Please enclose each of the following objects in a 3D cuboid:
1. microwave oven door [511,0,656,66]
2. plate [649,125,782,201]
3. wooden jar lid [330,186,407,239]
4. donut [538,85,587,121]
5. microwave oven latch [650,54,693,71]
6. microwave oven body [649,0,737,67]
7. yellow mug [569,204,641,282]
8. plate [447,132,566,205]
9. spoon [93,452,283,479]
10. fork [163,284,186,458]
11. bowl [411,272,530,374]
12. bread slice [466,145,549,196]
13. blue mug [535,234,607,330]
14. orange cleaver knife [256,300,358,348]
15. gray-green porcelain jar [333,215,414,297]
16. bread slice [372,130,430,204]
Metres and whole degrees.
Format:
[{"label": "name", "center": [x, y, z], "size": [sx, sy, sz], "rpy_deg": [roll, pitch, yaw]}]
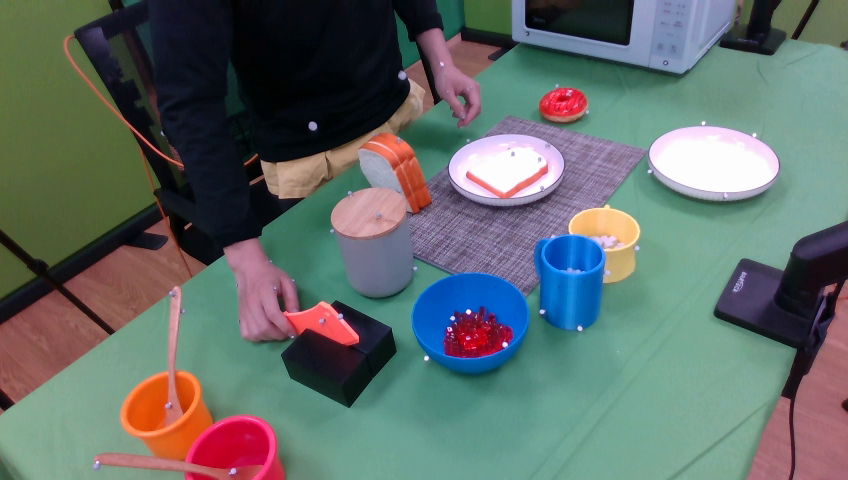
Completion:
[{"label": "microwave oven door", "center": [0.351, -0.539, 1.349], "size": [0.353, 0.245, 0.039], "rpy_deg": [24, 50, 31]}, {"label": "plate", "center": [0.493, -0.127, 1.036], "size": [0.207, 0.039, 0.206], "rpy_deg": [-4, 41, 4]}, {"label": "wooden jar lid", "center": [-0.077, -0.035, 0.846], "size": [0.108, 0.021, 0.108], "rpy_deg": [-5, 41, 5]}, {"label": "donut", "center": [0.283, -0.280, 1.239], "size": [0.099, 0.048, 0.098], "rpy_deg": [-5, 42, 5]}, {"label": "microwave oven latch", "center": [0.531, -0.386, 1.301], "size": [0.078, 0.029, 0.030], "rpy_deg": [26, 51, 33]}, {"label": "microwave oven body", "center": [0.475, -0.602, 1.411], "size": [0.438, 0.261, 0.327], "rpy_deg": [23, 50, 32]}, {"label": "yellow mug", "center": [0.268, -0.005, 0.904], "size": [0.099, 0.064, 0.130], "rpy_deg": [7, 41, 15]}, {"label": "plate", "center": [0.146, -0.124, 1.076], "size": [0.209, 0.038, 0.208], "rpy_deg": [-3, 41, 3]}, {"label": "spoon", "center": [-0.240, 0.239, 0.632], "size": [0.195, 0.021, 0.041], "rpy_deg": [26, 34, -32]}, {"label": "fork", "center": [-0.302, 0.157, 0.733], "size": [0.028, 0.019, 0.207], "rpy_deg": [-3, 84, 15]}, {"label": "bowl", "center": [0.062, 0.120, 0.780], "size": [0.151, 0.077, 0.150], "rpy_deg": [-4, 40, 4]}, {"label": "bread slice", "center": [0.156, -0.128, 1.085], "size": [0.132, 0.019, 0.104], "rpy_deg": [-34, 48, -23]}, {"label": "blue mug", "center": [0.191, 0.048, 0.824], "size": [0.082, 0.106, 0.115], "rpy_deg": [-26, 44, -20]}, {"label": "orange cleaver knife", "center": [-0.161, 0.116, 0.812], "size": [0.210, 0.077, 0.012], "rpy_deg": [-9, 28, 48]}, {"label": "gray-green porcelain jar", "center": [-0.071, 0.012, 0.887], "size": [0.106, 0.127, 0.105], "rpy_deg": [-4, 41, 4]}, {"label": "bread slice", "center": [-0.042, -0.127, 1.038], "size": [0.106, 0.135, 0.018], "rpy_deg": [30, 61, 33]}]
